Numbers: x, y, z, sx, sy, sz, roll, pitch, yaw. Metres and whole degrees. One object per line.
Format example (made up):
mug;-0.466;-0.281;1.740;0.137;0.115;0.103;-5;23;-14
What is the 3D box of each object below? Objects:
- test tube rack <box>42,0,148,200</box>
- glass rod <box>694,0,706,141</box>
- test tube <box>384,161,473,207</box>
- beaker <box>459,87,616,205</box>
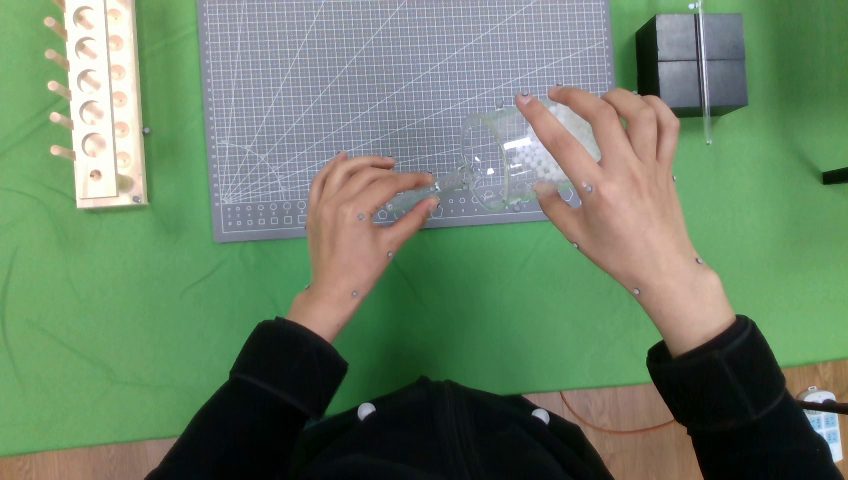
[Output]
test tube rack;-0.324;-0.164;0.586;0.067;0.085;0.242;-4;90;-6
glass rod;0.294;-0.205;0.646;0.008;0.008;0.199;-2;90;-6
test tube;-0.001;-0.048;0.549;0.017;0.149;0.017;4;82;-28
beaker;0.086;-0.073;0.462;0.100;0.084;0.074;-15;87;-17
